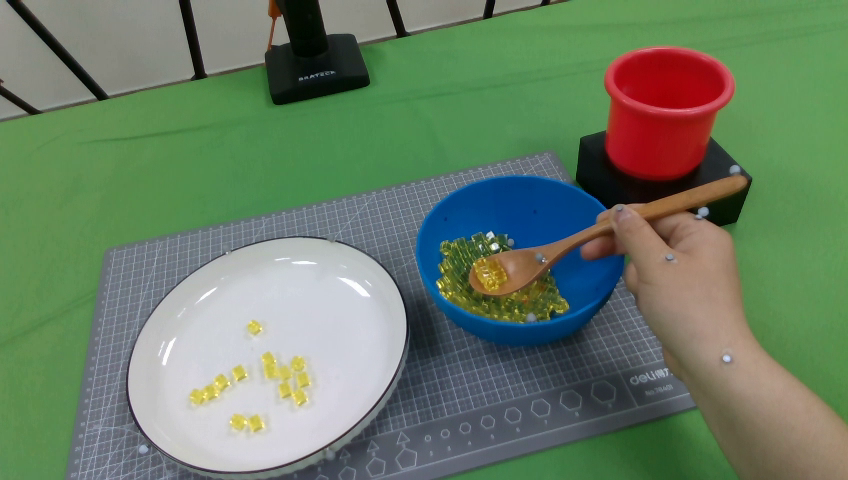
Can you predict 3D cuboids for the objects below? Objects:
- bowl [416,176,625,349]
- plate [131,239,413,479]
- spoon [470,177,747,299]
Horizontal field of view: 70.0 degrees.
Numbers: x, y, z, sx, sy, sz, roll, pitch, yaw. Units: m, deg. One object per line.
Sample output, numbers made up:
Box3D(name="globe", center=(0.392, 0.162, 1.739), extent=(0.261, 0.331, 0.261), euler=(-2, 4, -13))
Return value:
Box3D(name="bowl", center=(0.071, 0.029, 0.464), extent=(0.151, 0.077, 0.150), euler=(-3, 46, 4))
Box3D(name="plate", center=(-0.110, 0.085, 0.462), extent=(0.207, 0.039, 0.205), euler=(-4, 46, 4))
Box3D(name="spoon", center=(0.118, -0.001, 0.413), extent=(0.193, 0.022, 0.041), euler=(-26, 32, 27))
